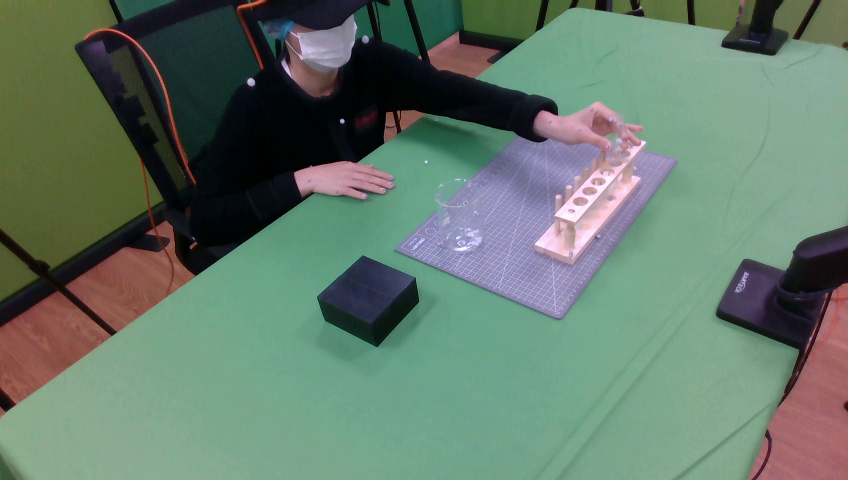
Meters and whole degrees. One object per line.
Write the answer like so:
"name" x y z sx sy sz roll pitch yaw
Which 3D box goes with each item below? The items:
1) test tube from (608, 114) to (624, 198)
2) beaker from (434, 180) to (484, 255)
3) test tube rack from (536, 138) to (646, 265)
"test tube" 0.301 -0.128 0.949 0.017 0.151 0.017 -5 40 5
"beaker" 0.058 -0.034 0.944 0.073 0.101 0.084 16 44 26
"test tube rack" 0.269 -0.071 0.964 0.066 0.085 0.243 23 49 32
